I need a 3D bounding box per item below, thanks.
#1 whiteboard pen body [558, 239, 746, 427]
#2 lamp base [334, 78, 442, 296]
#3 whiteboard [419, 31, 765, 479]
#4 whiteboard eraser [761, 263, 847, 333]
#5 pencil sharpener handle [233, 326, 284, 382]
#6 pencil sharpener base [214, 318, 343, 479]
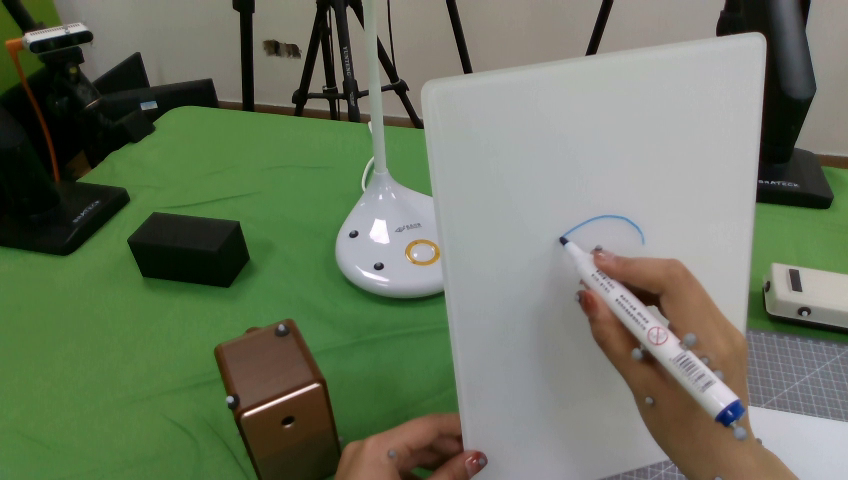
[{"bbox_3d":[0.116,0.043,0.330,0.017,0.017,0.139,-20,47,-20],"label":"whiteboard pen body"},{"bbox_3d":[-0.027,-0.062,0.618,0.161,0.182,0.177,-23,41,-24],"label":"lamp base"},{"bbox_3d":[0.107,0.017,0.457,0.217,0.307,0.142,-11,20,-9],"label":"whiteboard"},{"bbox_3d":[0.375,0.057,0.559,0.112,0.042,0.055,9,38,15],"label":"whiteboard eraser"},{"bbox_3d":[-0.129,0.085,0.478,0.036,0.068,0.030,-27,44,-14],"label":"pencil sharpener handle"},{"bbox_3d":[-0.107,0.122,0.450,0.061,0.108,0.076,-20,42,-20],"label":"pencil sharpener base"}]
